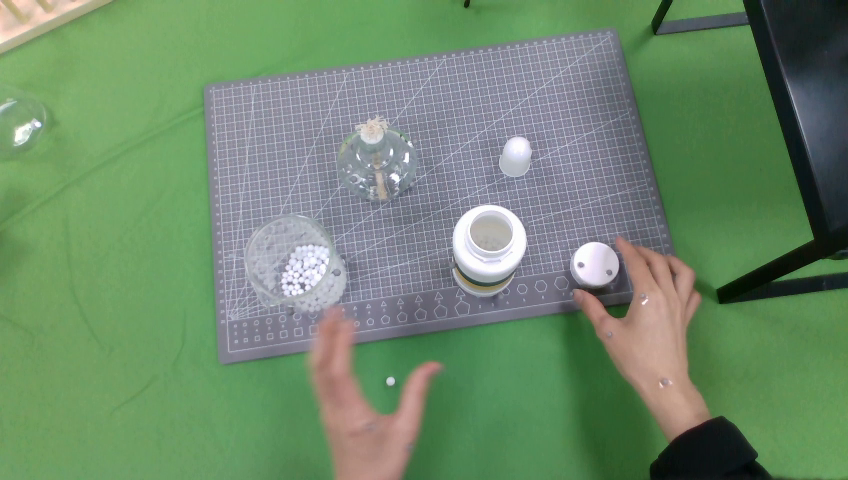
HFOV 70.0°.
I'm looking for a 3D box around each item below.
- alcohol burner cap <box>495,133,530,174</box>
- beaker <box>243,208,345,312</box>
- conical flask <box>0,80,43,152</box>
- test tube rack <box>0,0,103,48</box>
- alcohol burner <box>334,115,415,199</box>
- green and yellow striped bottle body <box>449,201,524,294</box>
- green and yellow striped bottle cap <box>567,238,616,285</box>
[{"bbox_3d":[0.090,-0.089,0.604,0.034,0.048,0.033,0,74,1],"label":"alcohol burner cap"},{"bbox_3d":[-0.113,0.026,0.547,0.074,0.101,0.083,21,76,8],"label":"beaker"},{"bbox_3d":[-0.443,-0.143,0.589,0.075,0.122,0.075,0,74,2],"label":"conical flask"},{"bbox_3d":[-0.391,-0.304,0.651,0.242,0.085,0.066,-29,76,-7],"label":"test tube rack"},{"bbox_3d":[-0.048,-0.083,0.568,0.078,0.119,0.077,0,73,0],"label":"alcohol burner"},{"bbox_3d":[0.054,0.007,0.538,0.063,0.120,0.063,0,74,2],"label":"green and yellow striped bottle body"},{"bbox_3d":[0.163,0.020,0.587,0.045,0.020,0.045,0,76,0],"label":"green and yellow striped bottle cap"}]
